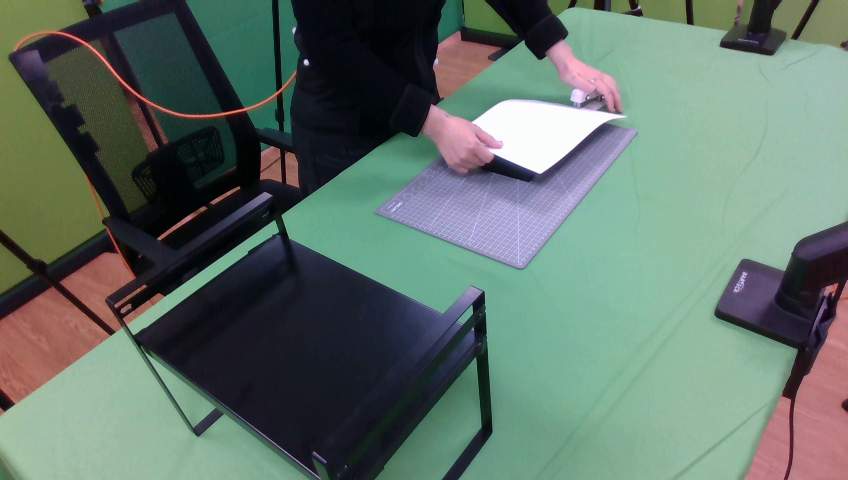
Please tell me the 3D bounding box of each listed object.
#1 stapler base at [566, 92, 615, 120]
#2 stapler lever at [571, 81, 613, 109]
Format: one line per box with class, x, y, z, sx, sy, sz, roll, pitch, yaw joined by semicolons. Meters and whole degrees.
stapler base;0.346;-0.286;1.255;0.131;0.024;0.041;-33;50;-31
stapler lever;0.345;-0.306;1.241;0.118;0.040;0.026;-34;50;-31
